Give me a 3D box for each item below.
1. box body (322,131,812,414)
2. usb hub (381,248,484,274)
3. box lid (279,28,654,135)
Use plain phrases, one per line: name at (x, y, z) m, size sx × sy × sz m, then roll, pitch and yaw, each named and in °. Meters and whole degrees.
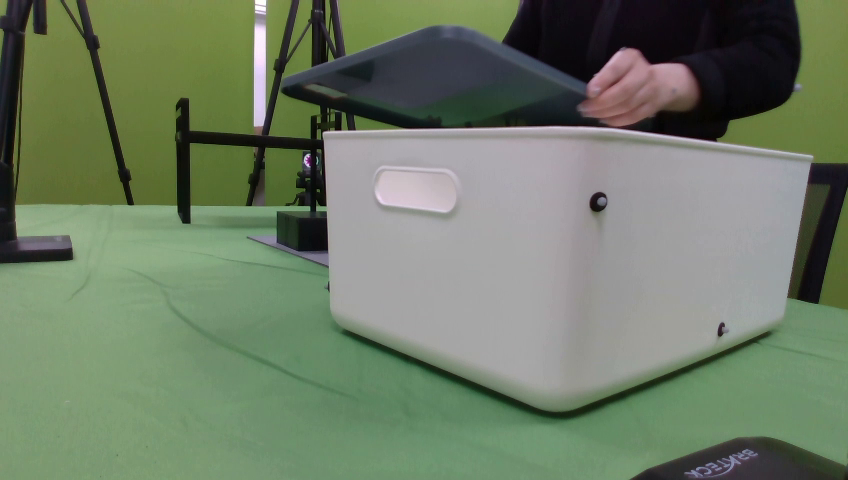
box body at (0.125, -0.001, 0.510) m, size 0.366 × 0.160 × 0.253 m, roll -4°, pitch 10°, yaw -41°
usb hub at (0.011, 0.026, 0.774) m, size 0.126 × 0.025 × 0.049 m, roll -1°, pitch 7°, yaw -26°
box lid at (0.060, -0.147, 0.672) m, size 0.262 × 0.015 × 0.374 m, roll 1°, pitch -3°, yaw 45°
